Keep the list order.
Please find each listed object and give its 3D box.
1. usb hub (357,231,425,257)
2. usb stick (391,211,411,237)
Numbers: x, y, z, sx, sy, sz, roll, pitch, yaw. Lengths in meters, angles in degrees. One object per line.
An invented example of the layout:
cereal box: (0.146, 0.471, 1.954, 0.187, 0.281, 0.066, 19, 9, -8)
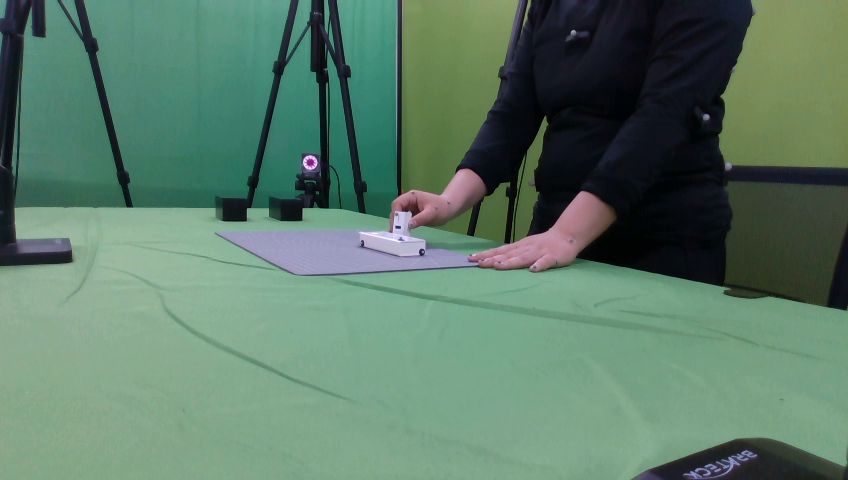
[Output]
usb hub: (-0.055, 0.005, 0.947, 0.050, 0.025, 0.124, -3, 9, -36)
usb stick: (-0.040, -0.018, 1.005, 0.021, 0.059, 0.027, 12, 9, 29)
